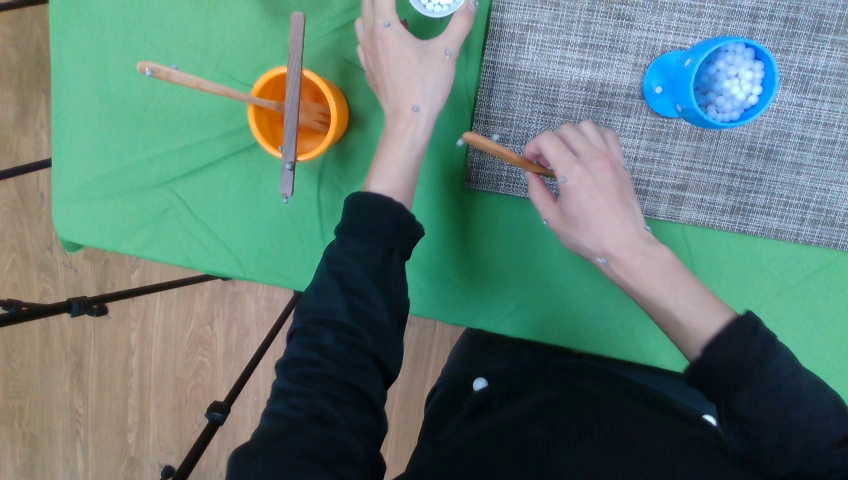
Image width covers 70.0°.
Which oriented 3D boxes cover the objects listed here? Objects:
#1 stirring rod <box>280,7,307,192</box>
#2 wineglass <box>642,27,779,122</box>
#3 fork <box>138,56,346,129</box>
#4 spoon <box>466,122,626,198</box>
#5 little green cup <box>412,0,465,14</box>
[{"bbox_3d":[-0.128,-0.133,0.590,0.014,0.006,0.177,10,106,6],"label":"stirring rod"},{"bbox_3d":[0.237,-0.141,0.522,0.073,0.171,0.074,2,105,8],"label":"wineglass"},{"bbox_3d":[-0.169,-0.144,0.595,0.209,0.018,0.028,8,119,-39],"label":"fork"},{"bbox_3d":[0.119,-0.074,0.573,0.195,0.041,0.021,14,76,-30],"label":"spoon"},{"bbox_3d":[0.015,-0.240,0.562,0.061,0.038,0.062,2,103,11],"label":"little green cup"}]
